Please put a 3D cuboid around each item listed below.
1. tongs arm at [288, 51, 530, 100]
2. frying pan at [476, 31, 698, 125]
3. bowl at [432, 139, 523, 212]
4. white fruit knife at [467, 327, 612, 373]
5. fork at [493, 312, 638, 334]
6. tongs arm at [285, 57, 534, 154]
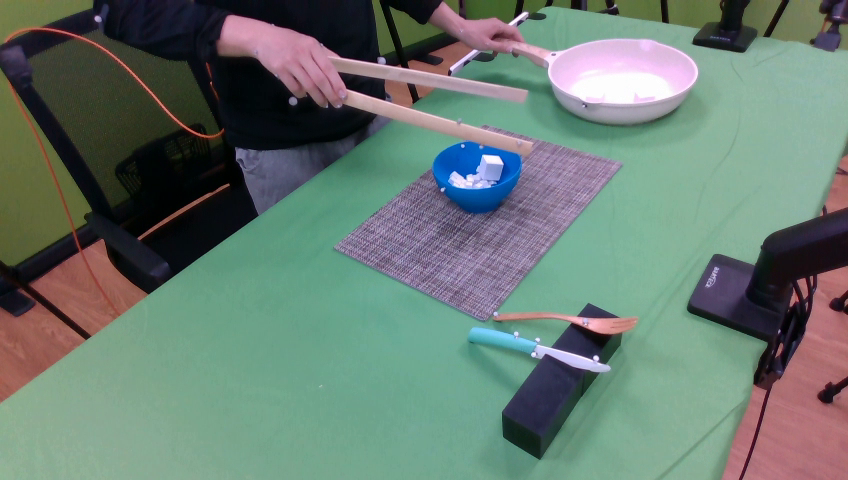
[{"bbox_3d":[-0.017,-0.256,0.956,0.389,0.028,0.028,5,54,-13],"label":"tongs arm"},{"bbox_3d":[0.321,-0.371,1.290,0.484,0.103,0.307,29,51,24],"label":"frying pan"},{"bbox_3d":[0.091,-0.100,1.021,0.151,0.077,0.150,-4,41,4],"label":"bowl"},{"bbox_3d":[0.134,0.134,0.742,0.205,0.027,0.016,7,34,41],"label":"white fruit knife"},{"bbox_3d":[0.173,0.103,0.774,0.206,0.019,0.028,0,41,40],"label":"fork"},{"bbox_3d":[-0.022,-0.200,0.906,0.386,0.026,0.050,14,50,-5],"label":"tongs arm"}]
